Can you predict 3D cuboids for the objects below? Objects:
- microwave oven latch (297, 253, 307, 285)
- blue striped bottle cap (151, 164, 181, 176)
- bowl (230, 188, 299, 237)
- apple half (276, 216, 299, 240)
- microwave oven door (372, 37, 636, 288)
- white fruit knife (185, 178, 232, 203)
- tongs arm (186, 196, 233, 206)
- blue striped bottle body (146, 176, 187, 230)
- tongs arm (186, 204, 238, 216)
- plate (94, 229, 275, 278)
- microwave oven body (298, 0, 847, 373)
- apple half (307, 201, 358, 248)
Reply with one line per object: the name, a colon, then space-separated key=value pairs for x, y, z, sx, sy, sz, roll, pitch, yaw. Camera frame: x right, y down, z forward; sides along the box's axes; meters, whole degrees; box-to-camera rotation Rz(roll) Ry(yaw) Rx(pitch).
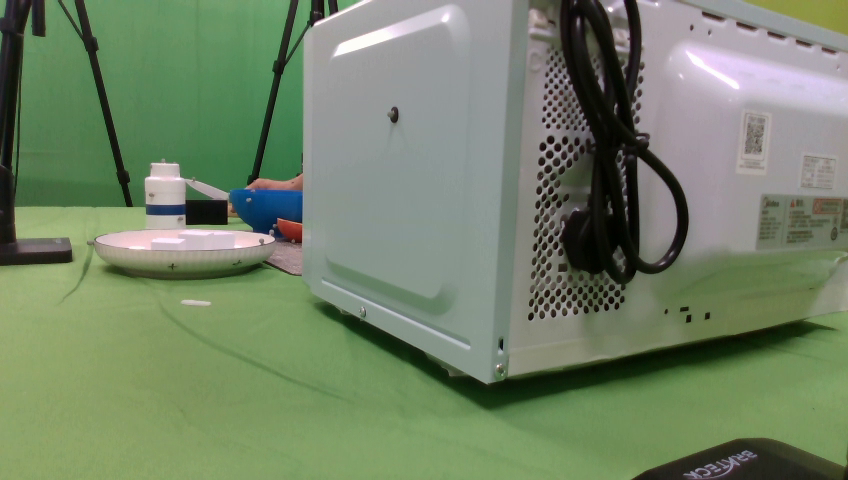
microwave oven latch: x=-0.081 y=0.027 z=0.582 sx=0.079 sy=0.029 sz=0.030 roll=-1 pitch=7 yaw=-32
blue striped bottle cap: x=-0.428 y=-0.116 z=1.002 sx=0.044 sy=0.020 sz=0.044 roll=1 pitch=6 yaw=0
bowl: x=-0.265 y=-0.048 z=1.066 sx=0.151 sy=0.077 sz=0.151 roll=3 pitch=8 yaw=0
apple half: x=-0.202 y=-0.015 z=0.985 sx=0.081 sy=0.033 sz=0.081 roll=12 pitch=-2 yaw=1
microwave oven door: x=0.110 y=-0.080 z=0.686 sx=0.358 sy=0.243 sz=0.039 roll=-2 pitch=9 yaw=-33
white fruit knife: x=-0.407 y=-0.088 z=1.269 sx=0.208 sy=0.027 sz=0.016 roll=24 pitch=11 yaw=-44
tongs arm: x=-0.404 y=-0.081 z=1.479 sx=0.385 sy=0.026 sz=0.050 roll=3 pitch=8 yaw=-2
blue striped bottle body: x=-0.430 y=-0.065 z=1.010 sx=0.063 sy=0.120 sz=0.063 roll=2 pitch=7 yaw=0
tongs arm: x=-0.396 y=-0.067 z=1.399 sx=0.389 sy=0.028 sz=0.028 roll=1 pitch=5 yaw=-15
plate: x=-0.291 y=0.016 z=0.750 sx=0.208 sy=0.039 sz=0.207 roll=2 pitch=7 yaw=0
microwave oven body: x=0.151 y=-0.055 z=0.542 sx=0.444 sy=0.260 sz=0.324 roll=-2 pitch=7 yaw=-33
apple half: x=-0.135 y=-0.023 z=0.941 sx=0.053 sy=0.074 sz=0.081 roll=13 pitch=8 yaw=40
